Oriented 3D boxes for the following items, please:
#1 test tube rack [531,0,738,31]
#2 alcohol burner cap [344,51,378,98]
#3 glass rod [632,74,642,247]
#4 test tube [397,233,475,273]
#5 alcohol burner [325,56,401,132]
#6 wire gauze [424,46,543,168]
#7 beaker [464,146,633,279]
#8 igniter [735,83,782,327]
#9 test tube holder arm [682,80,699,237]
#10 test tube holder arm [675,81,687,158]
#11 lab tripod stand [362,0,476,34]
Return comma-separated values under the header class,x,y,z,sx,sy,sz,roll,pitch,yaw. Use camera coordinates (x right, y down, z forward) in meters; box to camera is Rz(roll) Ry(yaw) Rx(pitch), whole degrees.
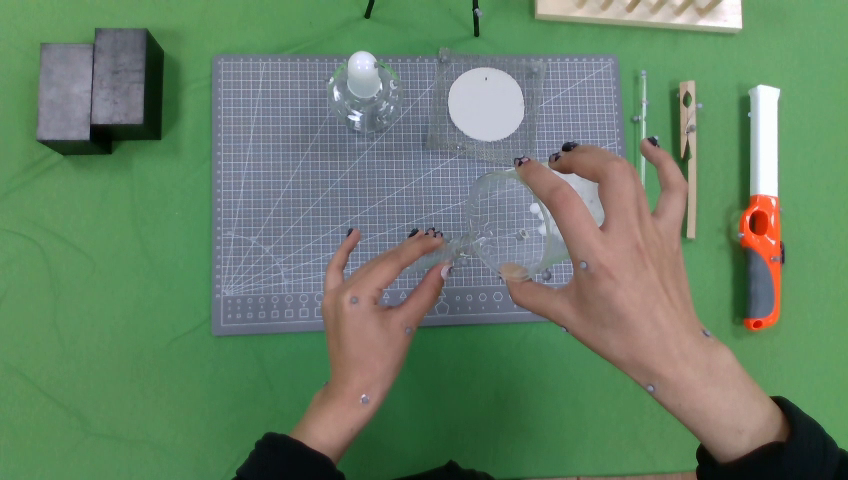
class,x,y,z,sx,sy,sz,roll,pitch,yaw
test tube rack,0.247,-0.289,0.668,0.243,0.085,0.066,2,82,-5
alcohol burner cap,-0.060,-0.159,0.571,0.034,0.048,0.033,1,76,-5
glass rod,0.240,-0.090,0.680,0.008,0.008,0.199,4,84,-5
test tube,0.005,0.013,0.496,0.017,0.150,0.017,3,81,-19
alcohol burner,-0.062,-0.153,0.607,0.078,0.119,0.077,0,82,-2
wire gauze,0.067,-0.150,0.671,0.125,0.011,0.121,9,83,-5
beaker,0.087,-0.022,0.420,0.100,0.084,0.074,-19,85,-35
igniter,0.374,-0.040,0.677,0.057,0.025,0.275,7,82,-14
test tube holder arm,0.298,-0.092,0.679,0.013,0.015,0.178,-6,81,31
test tube holder arm,0.293,-0.137,0.688,0.010,0.015,0.087,-4,82,32
lab tripod stand,0.003,-0.284,0.623,0.148,0.131,0.148,0,84,-4
